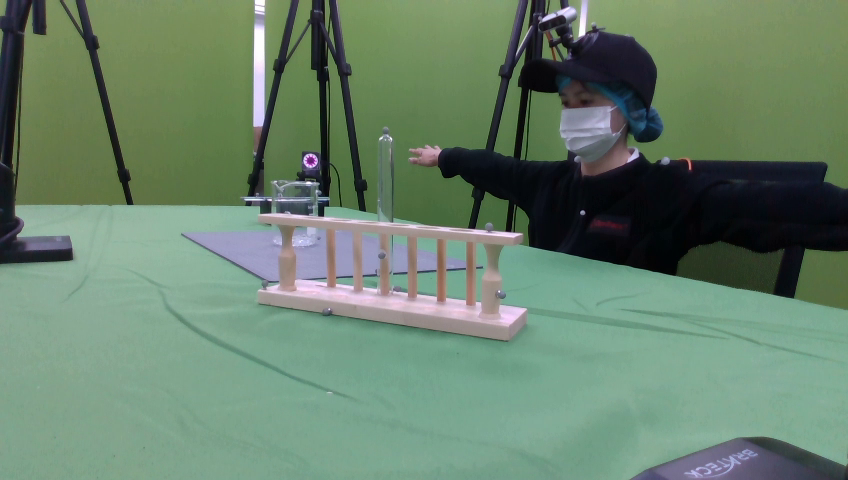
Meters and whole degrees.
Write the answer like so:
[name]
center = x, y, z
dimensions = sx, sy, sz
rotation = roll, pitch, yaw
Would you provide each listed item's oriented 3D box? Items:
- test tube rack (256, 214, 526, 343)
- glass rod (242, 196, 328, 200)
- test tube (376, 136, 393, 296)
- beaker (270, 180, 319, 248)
[test tube rack]
center = -0.032, 0.027, 0.547
dimensions = 0.241, 0.085, 0.067
rotation = 6, 7, 22
[glass rod]
center = -0.287, -0.089, 1.268
dimensions = 0.201, 0.008, 0.008
rotation = -5, 10, -43
[test tube]
center = -0.037, -0.022, 0.565
dimensions = 0.017, 0.150, 0.017
rotation = 1, 6, 0
[beaker]
center = -0.203, -0.040, 0.935
dimensions = 0.074, 0.100, 0.084
rotation = 5, 8, 18
